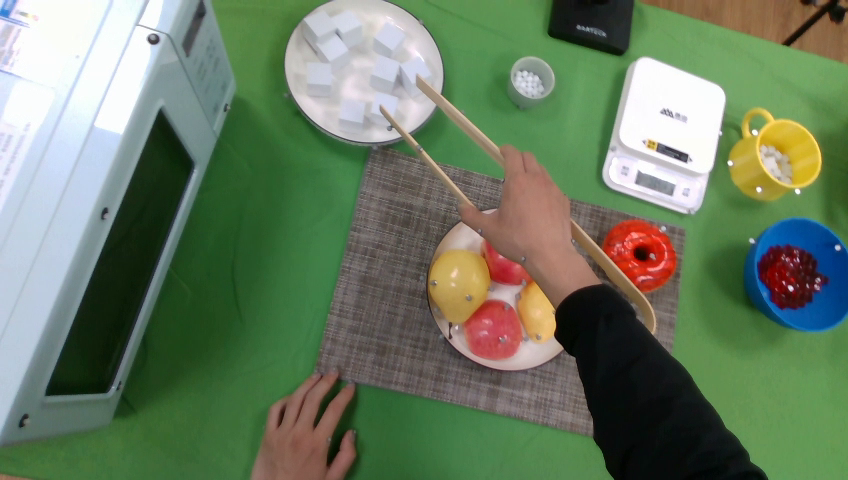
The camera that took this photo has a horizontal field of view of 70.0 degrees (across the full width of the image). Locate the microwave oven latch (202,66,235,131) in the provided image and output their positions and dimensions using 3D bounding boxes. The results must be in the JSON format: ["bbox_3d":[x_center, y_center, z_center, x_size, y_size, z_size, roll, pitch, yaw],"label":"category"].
[{"bbox_3d":[-0.257,-0.177,0.742,0.030,0.029,0.079,19,76,-6],"label":"microwave oven latch"}]

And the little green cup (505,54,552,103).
[{"bbox_3d":[0.141,-0.220,0.837,0.062,0.039,0.061,2,77,-9],"label":"little green cup"}]

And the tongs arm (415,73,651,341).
[{"bbox_3d":[0.111,-0.047,0.663,0.028,0.028,0.385,-37,76,-15],"label":"tongs arm"}]

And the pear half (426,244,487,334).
[{"bbox_3d":[0.041,0.060,0.735,0.077,0.056,0.109,9,81,-17],"label":"pear half"}]

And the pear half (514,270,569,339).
[{"bbox_3d":[0.150,0.080,0.765,0.070,0.031,0.087,12,74,7],"label":"pear half"}]

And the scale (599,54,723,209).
[{"bbox_3d":[0.338,-0.154,0.860,0.149,0.031,0.200,18,76,-5],"label":"scale"}]

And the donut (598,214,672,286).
[{"bbox_3d":[0.279,0.013,0.805,0.099,0.048,0.098,2,78,-6],"label":"donut"}]

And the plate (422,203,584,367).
[{"bbox_3d":[0.099,0.057,0.769,0.210,0.038,0.208,2,78,-9],"label":"plate"}]

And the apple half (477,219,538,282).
[{"bbox_3d":[0.107,0.011,0.762,0.075,0.053,0.080,2,81,-6],"label":"apple half"}]

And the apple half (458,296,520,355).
[{"bbox_3d":[0.083,0.104,0.747,0.081,0.033,0.081,3,71,-9],"label":"apple half"}]

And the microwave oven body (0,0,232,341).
[{"bbox_3d":[-0.429,-0.074,0.592,0.327,0.260,0.440,17,77,-6],"label":"microwave oven body"}]

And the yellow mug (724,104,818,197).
[{"bbox_3d":[0.487,-0.133,0.863,0.100,0.064,0.130,-18,81,-12],"label":"yellow mug"}]

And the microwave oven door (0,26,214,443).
[{"bbox_3d":[-0.300,0.006,0.591,0.039,0.244,0.354,16,76,-5],"label":"microwave oven door"}]

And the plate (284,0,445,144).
[{"bbox_3d":[-0.078,-0.222,0.801,0.208,0.039,0.206,2,78,-9],"label":"plate"}]

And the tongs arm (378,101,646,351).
[{"bbox_3d":[0.085,-0.025,0.656,0.051,0.026,0.382,-37,76,-12],"label":"tongs arm"}]

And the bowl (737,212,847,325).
[{"bbox_3d":[0.483,0.044,0.820,0.152,0.077,0.150,2,79,-9],"label":"bowl"}]
